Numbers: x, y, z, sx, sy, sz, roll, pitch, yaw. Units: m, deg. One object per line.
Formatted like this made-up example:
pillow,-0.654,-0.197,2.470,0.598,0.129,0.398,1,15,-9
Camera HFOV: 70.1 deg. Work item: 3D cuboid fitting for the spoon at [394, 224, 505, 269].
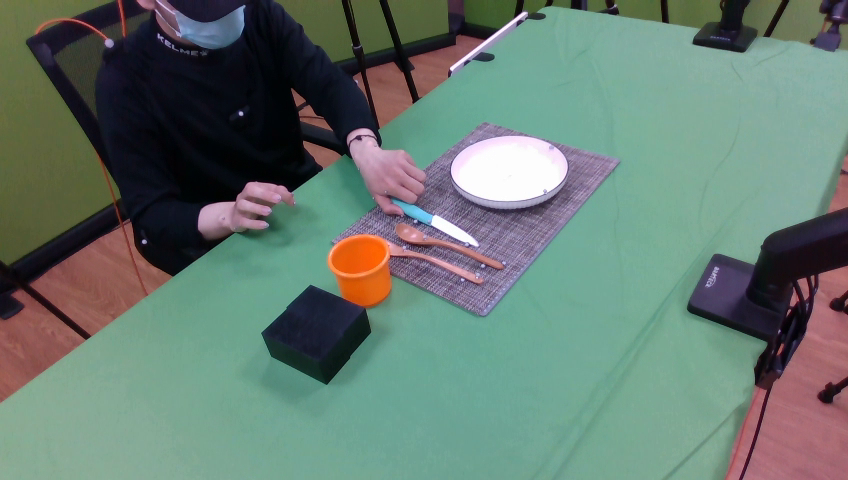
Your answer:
spoon,0.037,0.010,0.945,0.192,0.022,0.042,17,28,26

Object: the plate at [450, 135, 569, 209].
plate,0.149,-0.117,1.065,0.209,0.038,0.208,-4,41,4

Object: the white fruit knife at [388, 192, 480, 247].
white fruit knife,0.012,-0.034,1.006,0.205,0.016,0.027,29,54,32

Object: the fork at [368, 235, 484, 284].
fork,0.001,0.030,0.930,0.206,0.019,0.028,18,41,28
